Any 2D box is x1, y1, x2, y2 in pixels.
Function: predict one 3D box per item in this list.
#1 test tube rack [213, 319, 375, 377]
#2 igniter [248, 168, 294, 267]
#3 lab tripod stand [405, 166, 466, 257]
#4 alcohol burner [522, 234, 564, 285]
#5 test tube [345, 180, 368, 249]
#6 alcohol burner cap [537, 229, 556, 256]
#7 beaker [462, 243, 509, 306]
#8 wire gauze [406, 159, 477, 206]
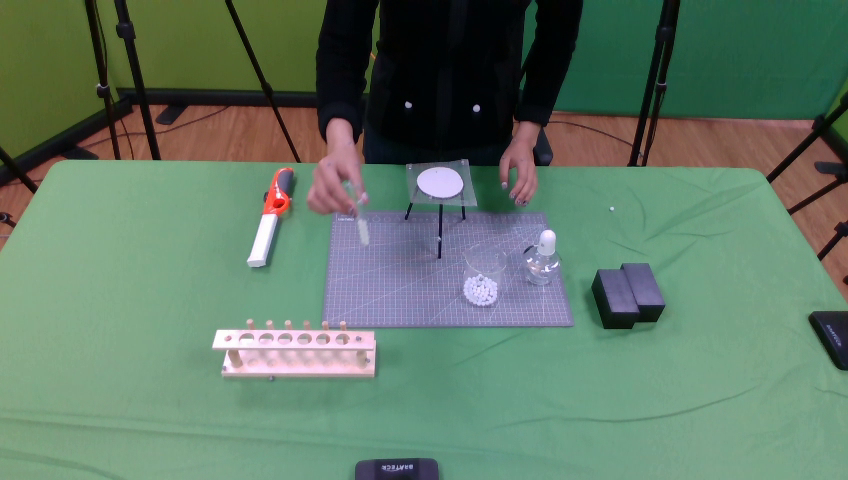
[{"bbox_3d":[-0.202,0.170,0.977,0.242,0.085,0.066,1,46,-3],"label":"test tube rack"},{"bbox_3d":[-0.307,-0.055,1.225,0.057,0.025,0.275,-3,46,7],"label":"igniter"},{"bbox_3d":[0.030,-0.063,1.179,0.148,0.132,0.147,3,47,-3],"label":"lab tripod stand"},{"bbox_3d":[0.223,0.027,1.120,0.078,0.119,0.077,2,48,-2],"label":"alcohol burner"},{"bbox_3d":[-0.099,-0.034,0.901,0.017,0.151,0.017,-2,53,2],"label":"test tube"},{"bbox_3d":[0.223,0.001,1.095,0.034,0.048,0.033,-1,44,1],"label":"alcohol burner cap"},{"bbox_3d":[0.105,0.064,1.086,0.084,0.101,0.073,18,47,14],"label":"beaker"},{"bbox_3d":[0.031,-0.108,1.129,0.125,0.011,0.120,-1,48,-5],"label":"wire gauze"}]
